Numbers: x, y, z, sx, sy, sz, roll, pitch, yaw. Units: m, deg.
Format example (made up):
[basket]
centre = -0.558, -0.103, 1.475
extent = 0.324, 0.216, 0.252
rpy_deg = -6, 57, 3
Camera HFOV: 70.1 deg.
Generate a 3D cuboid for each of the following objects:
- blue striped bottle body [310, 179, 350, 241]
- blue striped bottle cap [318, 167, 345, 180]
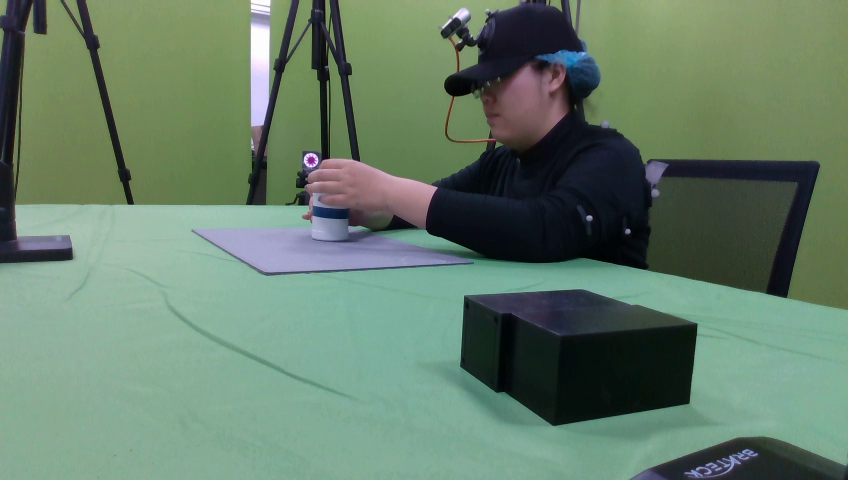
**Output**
[blue striped bottle body]
centre = -0.158, -0.061, 1.019
extent = 0.063, 0.120, 0.063
rpy_deg = 4, 5, 0
[blue striped bottle cap]
centre = -0.154, -0.112, 1.013
extent = 0.044, 0.020, 0.044
rpy_deg = 1, 7, 0
